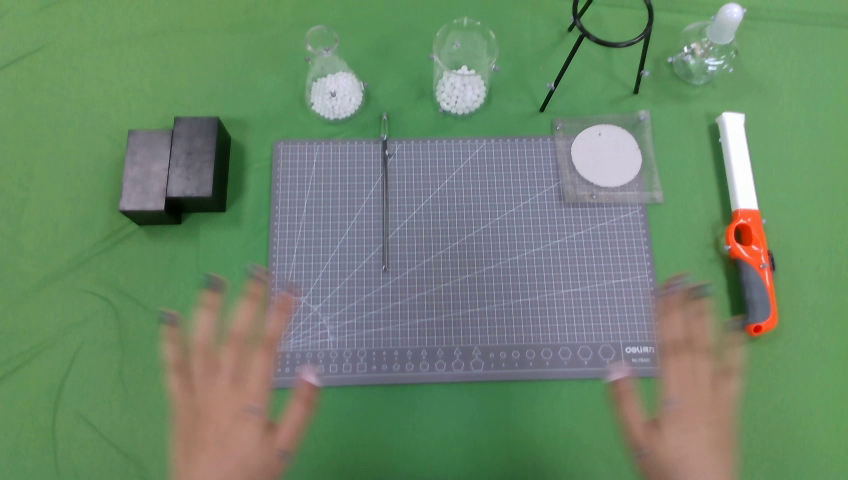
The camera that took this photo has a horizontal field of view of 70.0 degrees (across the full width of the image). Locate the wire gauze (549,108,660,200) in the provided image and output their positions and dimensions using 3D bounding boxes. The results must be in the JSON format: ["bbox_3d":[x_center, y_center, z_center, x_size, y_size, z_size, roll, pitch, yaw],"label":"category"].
[{"bbox_3d":[0.223,-0.106,0.747,0.125,0.011,0.120,-2,74,-2],"label":"wire gauze"}]

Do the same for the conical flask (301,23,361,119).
[{"bbox_3d":[-0.115,-0.201,0.709,0.075,0.122,0.075,0,73,-1],"label":"conical flask"}]

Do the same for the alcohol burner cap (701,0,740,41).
[{"bbox_3d":[0.348,-0.260,0.706,0.034,0.048,0.033,-1,71,3],"label":"alcohol burner cap"}]

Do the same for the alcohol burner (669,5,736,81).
[{"bbox_3d":[0.349,-0.248,0.740,0.078,0.119,0.077,0,75,0],"label":"alcohol burner"}]

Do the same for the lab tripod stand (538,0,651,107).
[{"bbox_3d":[0.201,-0.232,0.721,0.148,0.132,0.147,0,75,-1],"label":"lab tripod stand"}]

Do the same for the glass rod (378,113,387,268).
[{"bbox_3d":[-0.050,-0.063,0.726,0.008,0.008,0.198,-2,73,-2],"label":"glass rod"}]

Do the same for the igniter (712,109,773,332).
[{"bbox_3d":[0.378,-0.028,0.722,0.057,0.025,0.275,3,74,-11],"label":"igniter"}]

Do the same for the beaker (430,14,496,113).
[{"bbox_3d":[0.043,-0.208,0.728,0.074,0.101,0.083,1,73,-1],"label":"beaker"}]
